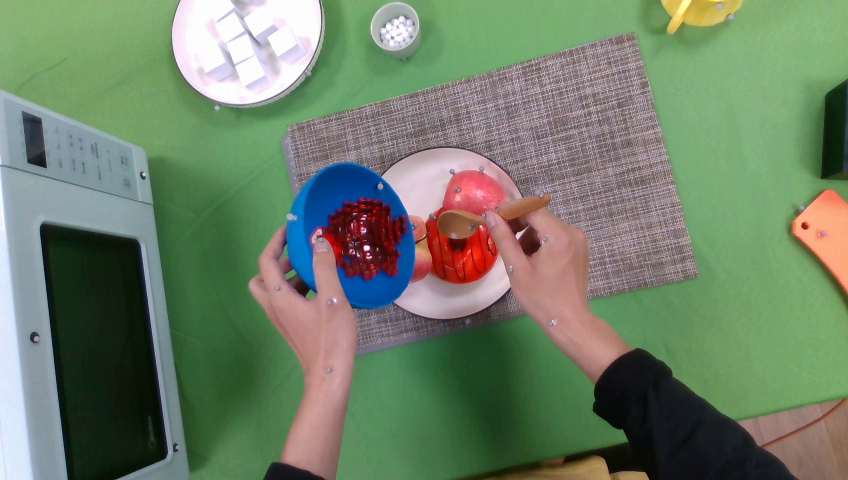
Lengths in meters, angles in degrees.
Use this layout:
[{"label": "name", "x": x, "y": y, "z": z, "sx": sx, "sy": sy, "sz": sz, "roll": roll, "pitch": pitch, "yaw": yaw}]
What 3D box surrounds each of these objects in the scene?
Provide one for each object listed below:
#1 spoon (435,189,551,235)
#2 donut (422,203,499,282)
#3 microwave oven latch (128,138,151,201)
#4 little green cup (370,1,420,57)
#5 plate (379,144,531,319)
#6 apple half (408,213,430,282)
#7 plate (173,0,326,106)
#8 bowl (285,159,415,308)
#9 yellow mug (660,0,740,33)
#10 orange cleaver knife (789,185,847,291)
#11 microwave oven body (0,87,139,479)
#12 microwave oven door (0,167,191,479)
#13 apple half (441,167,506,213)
[{"label": "spoon", "x": 0.063, "y": -0.025, "z": 0.585, "sx": 0.042, "sy": 0.193, "sz": 0.021, "roll": 40, "pitch": 72, "yaw": -16}, {"label": "donut", "x": 0.039, "y": 0.001, "z": 0.714, "sx": 0.099, "sy": 0.048, "sz": 0.099, "roll": 0, "pitch": 88, "yaw": 9}, {"label": "microwave oven latch", "x": -0.377, "y": -0.089, "z": 0.785, "sx": 0.030, "sy": 0.029, "sz": 0.079, "roll": -10, "pitch": 84, "yaw": 8}, {"label": "little green cup", "x": -0.034, "y": -0.262, "z": 0.762, "sx": 0.061, "sy": 0.039, "sz": 0.061, "roll": -1, "pitch": 85, "yaw": 10}, {"label": "plate", "x": 0.023, "y": -0.010, "z": 0.728, "sx": 0.209, "sy": 0.038, "sz": 0.208, "roll": -1, "pitch": 85, "yaw": 9}, {"label": "apple half", "x": -0.036, "y": 0.009, "z": 0.704, "sx": 0.074, "sy": 0.054, "sz": 0.080, "roll": -16, "pitch": 78, "yaw": 49}, {"label": "plate", "x": -0.225, "y": -0.274, "z": 0.794, "sx": 0.207, "sy": 0.039, "sz": 0.207, "roll": -1, "pitch": 85, "yaw": 9}, {"label": "bowl", "x": -0.089, "y": 0.001, "z": 0.620, "sx": 0.076, "sy": 0.152, "sz": 0.151, "roll": -17, "pitch": 81, "yaw": 39}, {"label": "yellow mug", "x": 0.316, "y": -0.295, "z": 0.693, "sx": 0.099, "sy": 0.064, "sz": 0.131, "roll": 34, "pitch": 92, "yaw": 10}, {"label": "orange cleaver knife", "x": 0.482, "y": 0.040, "z": 0.662, "sx": 0.077, "sy": 0.012, "sz": 0.210, "roll": -28, "pitch": 80, "yaw": 1}, {"label": "microwave oven body", "x": -0.505, "y": 0.103, "z": 0.692, "sx": 0.326, "sy": 0.261, "sz": 0.440, "roll": -11, "pitch": 84, "yaw": 8}, {"label": "microwave oven door", "x": -0.357, "y": 0.116, "z": 0.661, "sx": 0.039, "sy": 0.244, "sz": 0.354, "roll": -12, "pitch": 83, "yaw": 8}, {"label": "apple half", "x": 0.060, "y": -0.062, "z": 0.700, "sx": 0.081, "sy": 0.033, "sz": 0.080, "roll": 1, "pitch": 46, "yaw": -1}]
